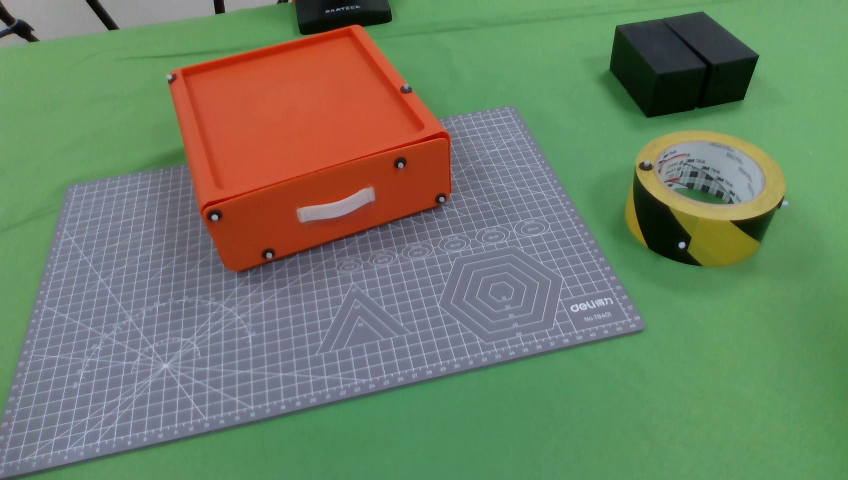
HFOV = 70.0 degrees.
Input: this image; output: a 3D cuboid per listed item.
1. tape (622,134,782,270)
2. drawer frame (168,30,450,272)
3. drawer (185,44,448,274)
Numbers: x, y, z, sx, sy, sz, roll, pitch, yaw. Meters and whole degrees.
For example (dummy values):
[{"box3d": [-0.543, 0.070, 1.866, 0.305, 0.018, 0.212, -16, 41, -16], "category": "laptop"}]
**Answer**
[{"box3d": [0.222, -0.034, 0.494, 0.117, 0.053, 0.115, -2, 46, 2], "category": "tape"}, {"box3d": [-0.110, -0.092, 0.551, 0.202, 0.083, 0.211, -20, 47, -14], "category": "drawer frame"}, {"box3d": [-0.108, -0.087, 0.549, 0.195, 0.074, 0.209, -20, 47, -13], "category": "drawer"}]
